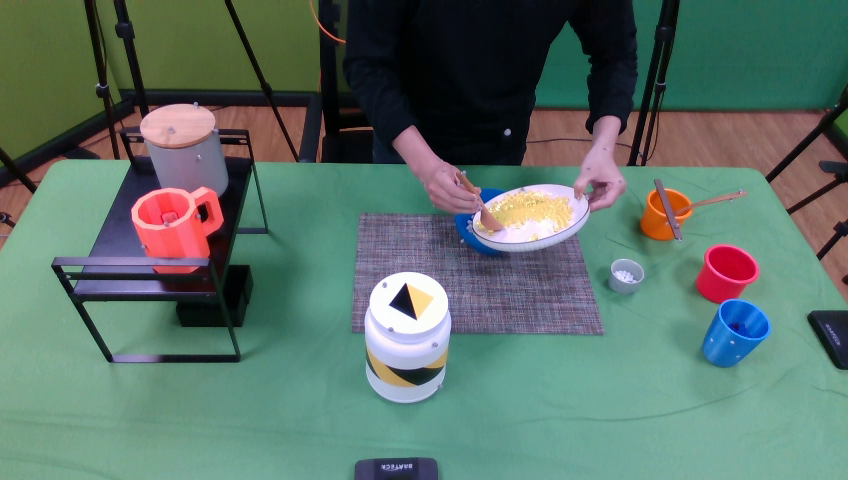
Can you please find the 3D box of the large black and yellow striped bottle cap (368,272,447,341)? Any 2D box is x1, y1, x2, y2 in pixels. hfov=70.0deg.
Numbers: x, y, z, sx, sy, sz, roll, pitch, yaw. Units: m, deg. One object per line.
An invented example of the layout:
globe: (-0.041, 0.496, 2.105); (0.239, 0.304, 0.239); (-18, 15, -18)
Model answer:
large black and yellow striped bottle cap: (-0.023, 0.093, 0.875); (0.115, 0.019, 0.114); (3, 46, -3)

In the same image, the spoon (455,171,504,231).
spoon: (0.091, -0.064, 1.022); (0.041, 0.195, 0.021); (7, 63, 31)

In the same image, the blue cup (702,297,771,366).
blue cup: (0.519, 0.162, 1.025); (0.093, 0.101, 0.092); (3, 45, -3)

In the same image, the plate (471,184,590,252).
plate: (0.188, -0.035, 1.069); (0.209, 0.038, 0.208); (-13, 28, 7)

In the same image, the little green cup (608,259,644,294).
little green cup: (0.379, 0.070, 1.147); (0.061, 0.039, 0.061); (3, 46, -3)

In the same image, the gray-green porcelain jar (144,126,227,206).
gray-green porcelain jar: (-0.375, -0.126, 0.967); (0.106, 0.127, 0.105); (2, 46, -2)

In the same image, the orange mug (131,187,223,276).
orange mug: (-0.354, -0.022, 0.888); (0.083, 0.101, 0.126); (31, 55, 24)

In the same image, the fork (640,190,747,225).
fork: (0.533, -0.065, 1.211); (0.207, 0.019, 0.028); (-22, 28, 38)

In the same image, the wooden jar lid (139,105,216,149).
wooden jar lid: (-0.372, -0.169, 0.920); (0.108, 0.021, 0.107); (4, 44, -4)

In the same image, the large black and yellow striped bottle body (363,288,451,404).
large black and yellow striped bottle body: (-0.027, 0.153, 0.935); (0.131, 0.185, 0.130); (2, 46, -2)

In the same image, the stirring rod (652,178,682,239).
stirring rod: (0.481, -0.065, 1.203); (0.014, 0.006, 0.175); (2, 46, -1)

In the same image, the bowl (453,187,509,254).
bowl: (0.128, -0.026, 1.186); (0.151, 0.077, 0.150); (2, 45, -1)
